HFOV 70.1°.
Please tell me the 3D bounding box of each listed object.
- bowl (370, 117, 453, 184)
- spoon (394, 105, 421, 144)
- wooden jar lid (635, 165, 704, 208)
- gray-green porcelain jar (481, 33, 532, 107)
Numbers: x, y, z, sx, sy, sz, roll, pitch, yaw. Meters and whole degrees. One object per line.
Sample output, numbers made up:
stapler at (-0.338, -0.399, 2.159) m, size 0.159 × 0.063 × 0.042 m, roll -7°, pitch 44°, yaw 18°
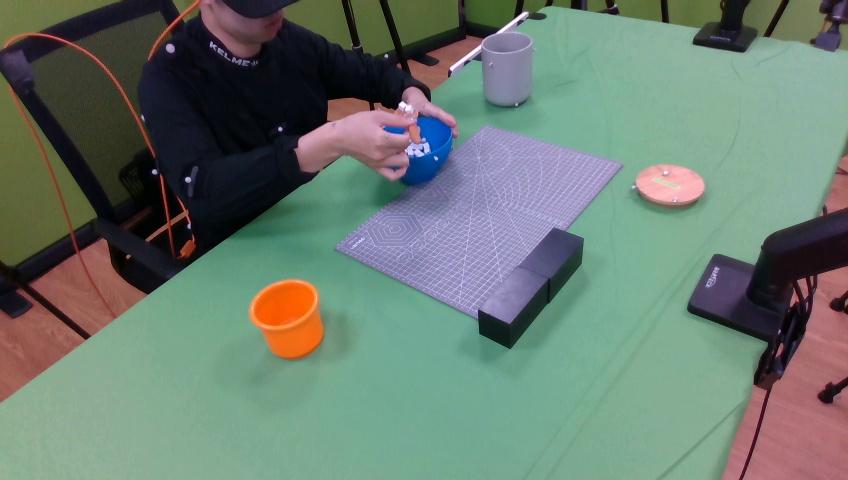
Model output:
bowl at (-0.018, -0.155, 1.106) m, size 0.151 × 0.077 × 0.150 m, roll -6°, pitch 39°, yaw 5°
spoon at (-0.023, -0.187, 0.966) m, size 0.042 × 0.022 × 0.192 m, roll -10°, pitch 24°, yaw -2°
wooden jar lid at (0.410, -0.089, 1.014) m, size 0.108 × 0.021 × 0.108 m, roll -5°, pitch 42°, yaw 5°
gray-green porcelain jar at (0.175, -0.355, 1.278) m, size 0.106 × 0.127 × 0.105 m, roll -4°, pitch 41°, yaw 4°
